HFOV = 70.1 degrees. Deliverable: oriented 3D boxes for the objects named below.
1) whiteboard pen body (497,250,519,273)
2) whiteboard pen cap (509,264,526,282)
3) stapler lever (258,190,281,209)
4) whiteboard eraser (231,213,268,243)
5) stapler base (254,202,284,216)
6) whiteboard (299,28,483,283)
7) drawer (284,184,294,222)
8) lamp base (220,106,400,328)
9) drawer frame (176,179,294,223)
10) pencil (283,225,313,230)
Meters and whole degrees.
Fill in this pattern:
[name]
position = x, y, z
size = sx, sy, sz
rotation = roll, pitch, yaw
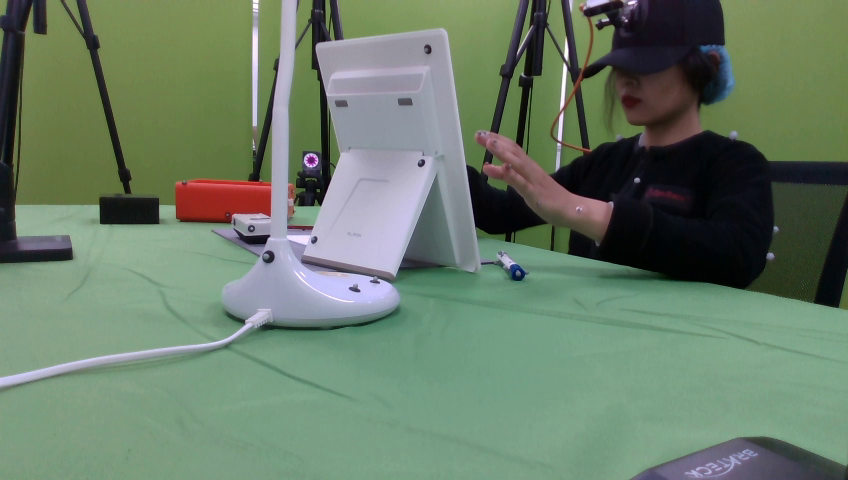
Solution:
[whiteboard pen body]
position = 0.116, 0.032, 0.810
size = 0.017, 0.017, 0.140
rotation = 2, 8, -2
[whiteboard pen cap]
position = 0.116, 0.039, 0.752
size = 0.018, 0.018, 0.033
rotation = 2, 10, -1
[stapler lever]
position = -0.333, -0.091, 1.305
size = 0.027, 0.040, 0.118
rotation = 6, 9, -2
[whiteboard eraser]
position = -0.270, -0.020, 0.967
size = 0.056, 0.042, 0.112
rotation = 0, 8, -28
[stapler base]
position = -0.334, -0.069, 1.307
size = 0.041, 0.024, 0.130
rotation = 6, 6, -2
[whiteboard]
position = -0.075, -0.082, 0.740
size = 0.216, 0.305, 0.144
rotation = 9, 30, 39
[drawer]
position = -0.390, -0.084, 1.301
size = 0.212, 0.073, 0.194
rotation = 1, 8, -8
[lamp base]
position = -0.101, -0.023, 0.531
size = 0.160, 0.180, 0.179
rotation = 4, 10, 10
[drawer frame]
position = -0.395, -0.086, 1.299
size = 0.214, 0.082, 0.201
rotation = 1, 8, -9
[pencil]
position = -0.216, -0.023, 1.134
size = 0.195, 0.012, 0.012
rotation = 1, 7, -21
